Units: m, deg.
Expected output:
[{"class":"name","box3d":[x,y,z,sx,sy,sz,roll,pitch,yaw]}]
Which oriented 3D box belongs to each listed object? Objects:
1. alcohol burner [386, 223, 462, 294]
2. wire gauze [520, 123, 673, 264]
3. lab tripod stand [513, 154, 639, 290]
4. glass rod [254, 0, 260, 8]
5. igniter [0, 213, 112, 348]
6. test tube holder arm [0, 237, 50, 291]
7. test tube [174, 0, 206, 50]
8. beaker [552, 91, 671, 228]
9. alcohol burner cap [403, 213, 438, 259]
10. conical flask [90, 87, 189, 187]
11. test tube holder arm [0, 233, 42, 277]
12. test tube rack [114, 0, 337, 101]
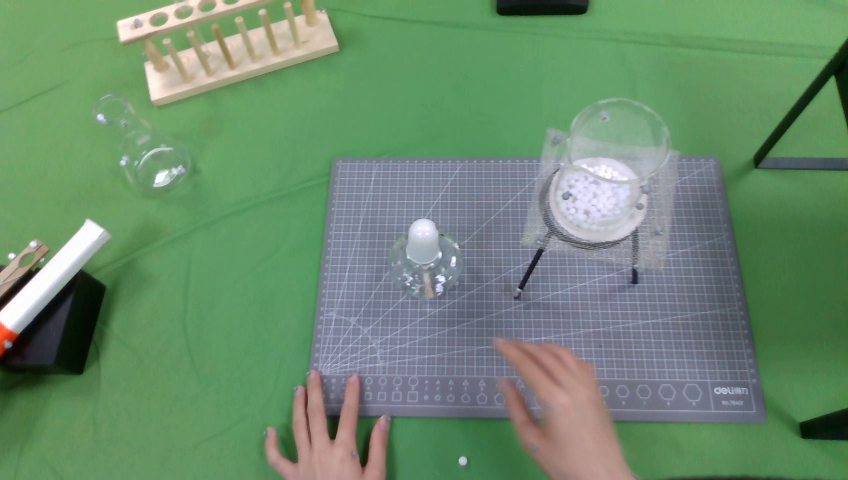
[{"class":"alcohol burner","box3d":[-0.001,0.010,0.607,0.078,0.120,0.077,0,65,1]},{"class":"wire gauze","box3d":[0.157,-0.043,0.539,0.121,0.011,0.124,13,66,6]},{"class":"lab tripod stand","box3d":[0.154,-0.013,0.598,0.148,0.132,0.147,0,65,1]},{"class":"glass rod","box3d":[-0.211,-0.322,0.705,0.008,0.201,0.008,-2,58,4]},{"class":"igniter","box3d":[-0.418,0.085,0.593,0.057,0.025,0.276,28,70,24]},{"class":"test tube holder arm","box3d":[-0.420,0.032,0.617,0.010,0.015,0.087,44,73,-13]},{"class":"test tube","box3d":[-0.286,-0.283,0.710,0.017,0.151,0.017,-1,60,1]},{"class":"beaker","box3d":[0.143,-0.058,0.493,0.084,0.101,0.073,-22,68,-6]},{"class":"alcohol burner cap","box3d":[-0.002,-0.007,0.574,0.034,0.048,0.033,2,59,-2]},{"class":"conical flask","box3d":[-0.321,-0.118,0.675,0.075,0.123,0.075,-1,66,3]},{"class":"test tube holder arm","box3d":[-0.451,0.062,0.603,0.013,0.015,0.178,43,73,-13]},{"class":"test tube rack","box3d":[-0.240,-0.259,0.751,0.242,0.086,0.066,-19,67,-5]}]
